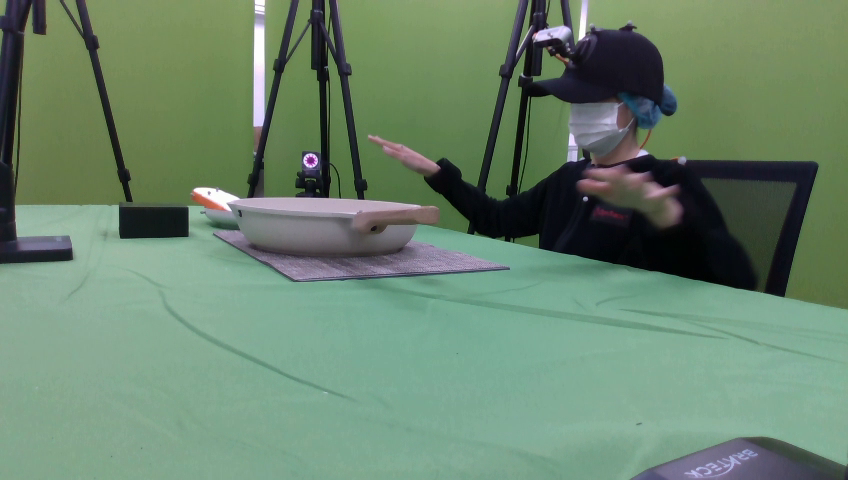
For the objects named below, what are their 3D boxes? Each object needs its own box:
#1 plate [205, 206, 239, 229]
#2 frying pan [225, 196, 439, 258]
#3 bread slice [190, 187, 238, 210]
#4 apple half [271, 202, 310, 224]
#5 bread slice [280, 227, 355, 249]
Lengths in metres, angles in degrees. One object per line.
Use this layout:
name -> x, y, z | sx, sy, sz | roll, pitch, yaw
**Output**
plate -> -0.324, -0.046, 1.199 | 0.208, 0.039, 0.207 | 3, 7, 0
frying pan -> -0.103, -0.027, 0.845 | 0.308, 0.102, 0.486 | -1, 0, -25
bread slice -> -0.402, -0.074, 1.218 | 0.131, 0.019, 0.105 | 26, 12, 15
apple half -> -0.263, -0.059, 1.178 | 0.081, 0.033, 0.081 | -22, 2, 1
bread slice -> -0.170, -0.004, 0.943 | 0.107, 0.018, 0.134 | 2, 7, -15
